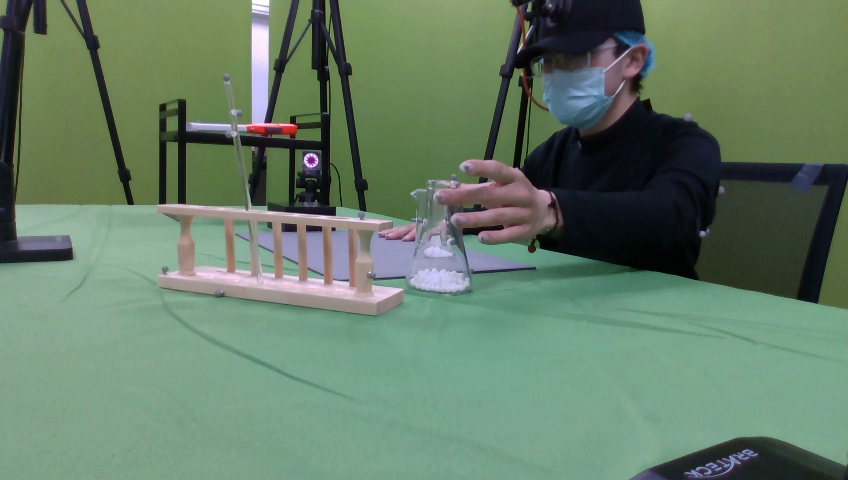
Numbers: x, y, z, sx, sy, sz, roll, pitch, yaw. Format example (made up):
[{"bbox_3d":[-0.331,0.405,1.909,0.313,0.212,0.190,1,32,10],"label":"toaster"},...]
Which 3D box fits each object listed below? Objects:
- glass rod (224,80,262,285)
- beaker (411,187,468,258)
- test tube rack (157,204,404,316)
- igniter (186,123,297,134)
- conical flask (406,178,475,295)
[{"bbox_3d":[-0.173,-0.052,0.582,0.008,0.199,0.008,-7,8,1],"label":"glass rod"},{"bbox_3d":[0.021,-0.027,0.892,0.084,0.100,0.074,1,7,-1],"label":"beaker"},{"bbox_3d":[-0.143,0.013,0.598,0.242,0.085,0.067,5,8,19],"label":"test tube rack"},{"bbox_3d":[-0.392,-0.247,1.341,0.057,0.025,0.278,9,14,38],"label":"igniter"},{"bbox_3d":[0.019,-0.006,0.654,0.075,0.122,0.075,2,7,0],"label":"conical flask"}]
